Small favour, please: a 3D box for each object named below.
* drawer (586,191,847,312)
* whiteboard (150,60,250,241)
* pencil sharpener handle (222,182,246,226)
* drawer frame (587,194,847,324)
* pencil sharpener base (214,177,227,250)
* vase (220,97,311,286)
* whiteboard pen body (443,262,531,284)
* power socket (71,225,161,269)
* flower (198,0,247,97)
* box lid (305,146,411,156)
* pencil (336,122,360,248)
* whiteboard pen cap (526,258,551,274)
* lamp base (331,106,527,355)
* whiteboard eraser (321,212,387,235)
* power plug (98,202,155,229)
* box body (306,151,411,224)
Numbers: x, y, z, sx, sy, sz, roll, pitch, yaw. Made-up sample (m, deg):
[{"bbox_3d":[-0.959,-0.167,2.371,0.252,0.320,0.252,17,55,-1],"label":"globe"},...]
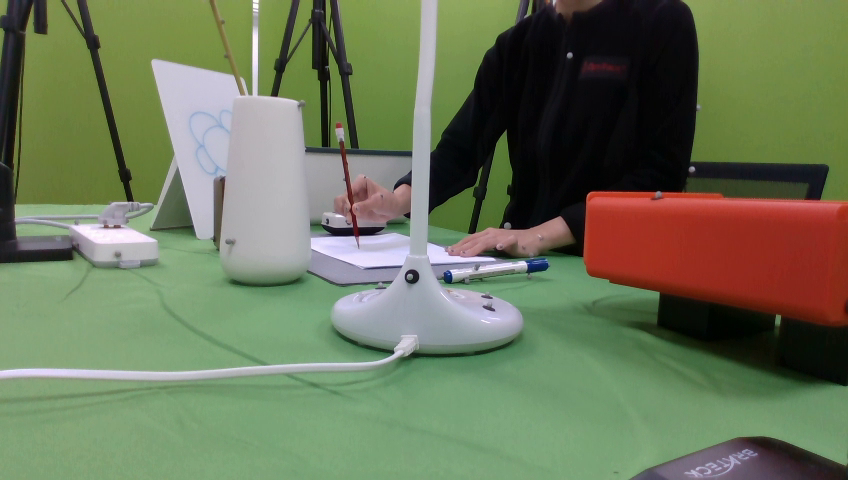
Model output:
[{"bbox_3d":[0.281,0.001,0.513,0.195,0.073,0.210,-1,8,-29],"label":"drawer"},{"bbox_3d":[-0.408,-0.139,1.093,0.143,0.305,0.218,-15,-1,26],"label":"whiteboard"},{"bbox_3d":[-0.289,-0.055,0.912,0.036,0.067,0.030,-3,9,-29],"label":"pencil sharpener handle"},{"bbox_3d":[0.286,0.004,0.508,0.203,0.082,0.212,-1,6,-30],"label":"drawer frame"},{"bbox_3d":[-0.265,-0.036,0.870,0.061,0.107,0.076,-2,8,-29],"label":"pencil sharpener base"},{"bbox_3d":[-0.172,-0.052,0.662,0.098,0.200,0.098,3,8,0],"label":"vase"},{"bbox_3d":[0.087,0.038,0.734,0.141,0.017,0.017,-5,10,-27],"label":"whiteboard pen body"},{"bbox_3d":[-0.408,0.004,0.793,0.072,0.032,0.225,-2,8,-38],"label":"power socket"},{"bbox_3d":[-0.187,-0.133,0.648,0.038,0.362,0.044,-1,22,43],"label":"flower"},{"bbox_3d":[-0.229,-0.200,1.360,0.373,0.015,0.262,-3,9,-33],"label":"box lid"},{"bbox_3d":[-0.114,-0.083,0.918,0.012,0.194,0.012,-9,4,1],"label":"pencil"},{"bbox_3d":[0.141,0.033,0.759,0.033,0.018,0.018,-7,11,-26],"label":"whiteboard pen cap"},{"bbox_3d":[0.006,-0.012,0.478,0.161,0.180,0.179,2,10,2],"label":"lamp base"},{"bbox_3d":[-0.128,-0.031,1.108,0.113,0.042,0.055,-3,7,-38],"label":"whiteboard eraser"},{"bbox_3d":[-0.416,-0.027,0.848,0.073,0.052,0.035,0,8,-28],"label":"power plug"},{"bbox_3d":[-0.230,-0.126,1.371,0.366,0.160,0.253,-2,8,-33],"label":"box body"}]
